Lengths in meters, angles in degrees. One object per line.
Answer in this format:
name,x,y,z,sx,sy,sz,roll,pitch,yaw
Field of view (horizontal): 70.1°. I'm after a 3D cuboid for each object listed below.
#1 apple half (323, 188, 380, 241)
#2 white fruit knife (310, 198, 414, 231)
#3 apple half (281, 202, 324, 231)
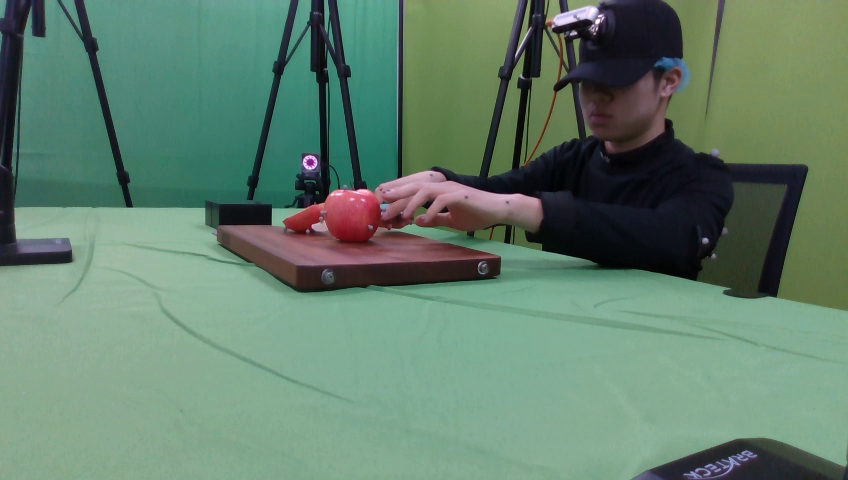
apple half,-0.094,-0.035,0.840,0.081,0.074,0.053,1,11,-38
white fruit knife,-0.089,-0.039,0.922,0.016,0.027,0.208,8,17,41
apple half,-0.175,-0.033,0.927,0.081,0.033,0.081,-21,0,1
